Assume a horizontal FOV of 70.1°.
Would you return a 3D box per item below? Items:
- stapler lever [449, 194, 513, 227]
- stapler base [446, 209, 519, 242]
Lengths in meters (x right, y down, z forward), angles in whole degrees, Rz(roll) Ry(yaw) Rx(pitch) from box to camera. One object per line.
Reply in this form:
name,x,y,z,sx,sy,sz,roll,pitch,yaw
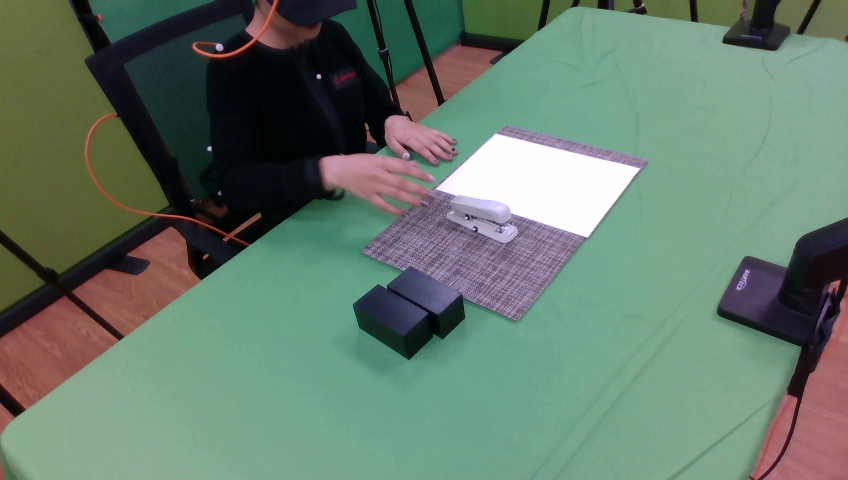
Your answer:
stapler lever,0.092,-0.054,0.985,0.117,0.040,0.027,25,48,35
stapler base,0.096,-0.035,1.000,0.129,0.024,0.041,24,47,35
